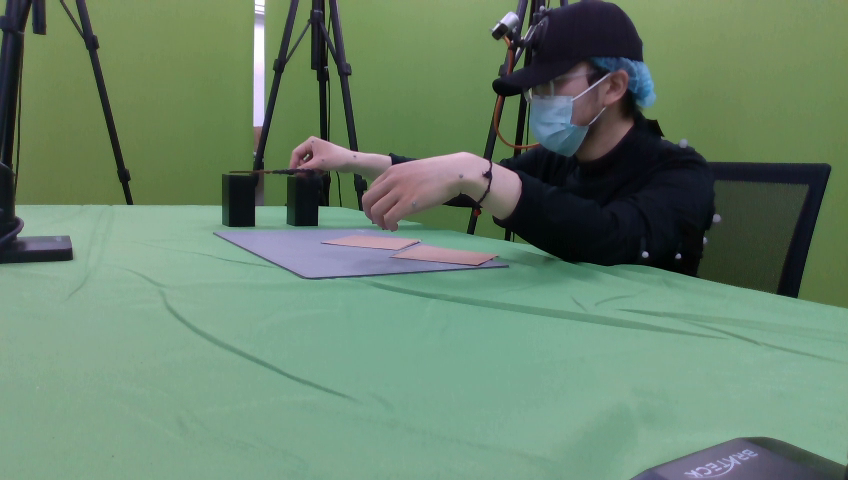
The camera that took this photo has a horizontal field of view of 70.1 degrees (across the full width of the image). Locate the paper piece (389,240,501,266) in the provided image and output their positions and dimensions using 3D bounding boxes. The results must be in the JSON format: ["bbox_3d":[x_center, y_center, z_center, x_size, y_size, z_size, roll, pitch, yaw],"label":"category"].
[{"bbox_3d":[0.035,0.020,0.906,0.138,0.008,0.136,7,12,20],"label":"paper piece"}]

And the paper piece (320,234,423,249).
[{"bbox_3d":[-0.084,0.000,1.017,0.135,0.004,0.136,5,8,17],"label":"paper piece"}]

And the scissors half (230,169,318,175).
[{"bbox_3d":[-0.297,-0.138,1.208,0.176,0.013,0.040,-2,4,-27],"label":"scissors half"}]

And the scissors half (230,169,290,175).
[{"bbox_3d":[-0.308,-0.140,1.224,0.176,0.013,0.040,-4,11,-43],"label":"scissors half"}]
